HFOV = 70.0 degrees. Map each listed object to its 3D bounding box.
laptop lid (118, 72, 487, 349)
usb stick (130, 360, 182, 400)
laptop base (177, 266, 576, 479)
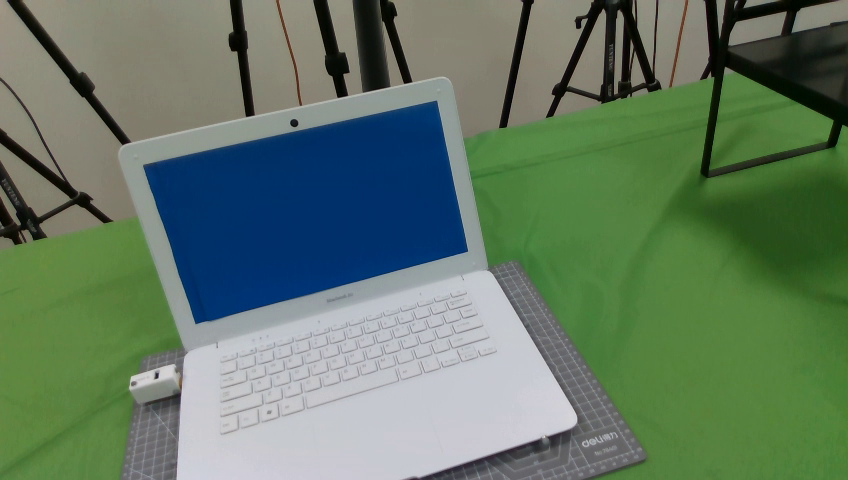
[{"bbox_3d":[-0.117,-0.031,0.661,0.357,0.243,0.013,-16,15,-9],"label":"laptop lid"},{"bbox_3d":[-0.267,0.142,0.621,0.059,0.027,0.021,-12,34,-10],"label":"usb stick"},{"bbox_3d":[-0.061,0.143,0.599,0.355,0.023,0.233,-15,39,-9],"label":"laptop base"}]
